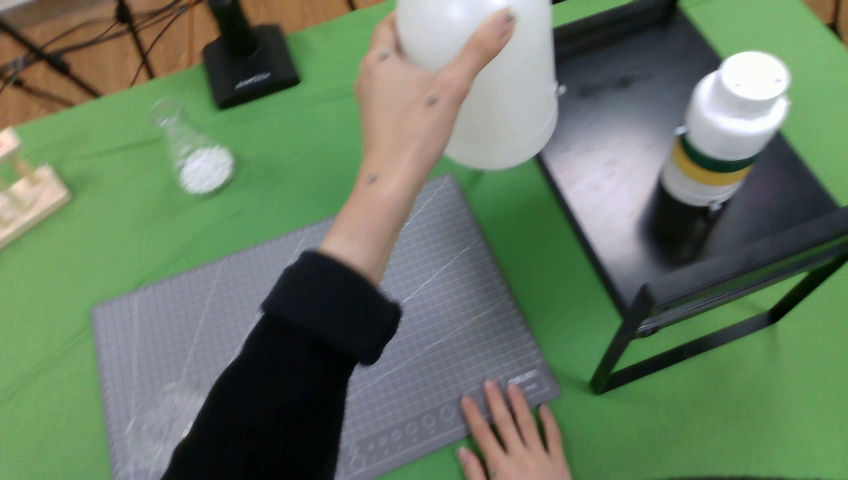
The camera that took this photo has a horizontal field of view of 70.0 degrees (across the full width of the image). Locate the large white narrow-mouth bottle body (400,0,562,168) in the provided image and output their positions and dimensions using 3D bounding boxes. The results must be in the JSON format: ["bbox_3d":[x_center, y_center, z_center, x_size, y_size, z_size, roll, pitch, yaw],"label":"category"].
[{"bbox_3d":[0.038,-0.139,0.416,0.101,0.196,0.101,-7,62,13],"label":"large white narrow-mouth bottle body"}]

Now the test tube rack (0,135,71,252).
[{"bbox_3d":[-0.565,-0.012,0.720,0.242,0.086,0.066,-41,66,-15],"label":"test tube rack"}]

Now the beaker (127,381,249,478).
[{"bbox_3d":[-0.218,0.185,0.576,0.084,0.101,0.073,-11,61,0],"label":"beaker"}]

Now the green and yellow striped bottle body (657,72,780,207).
[{"bbox_3d":[0.224,-0.081,0.461,0.063,0.120,0.062,-2,62,5],"label":"green and yellow striped bottle body"}]

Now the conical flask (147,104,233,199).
[{"bbox_3d":[-0.285,-0.109,0.726,0.075,0.123,0.074,-2,62,5],"label":"conical flask"}]

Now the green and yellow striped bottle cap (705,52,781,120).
[{"bbox_3d":[0.219,-0.107,0.416,0.045,0.020,0.045,-2,65,4],"label":"green and yellow striped bottle cap"}]
